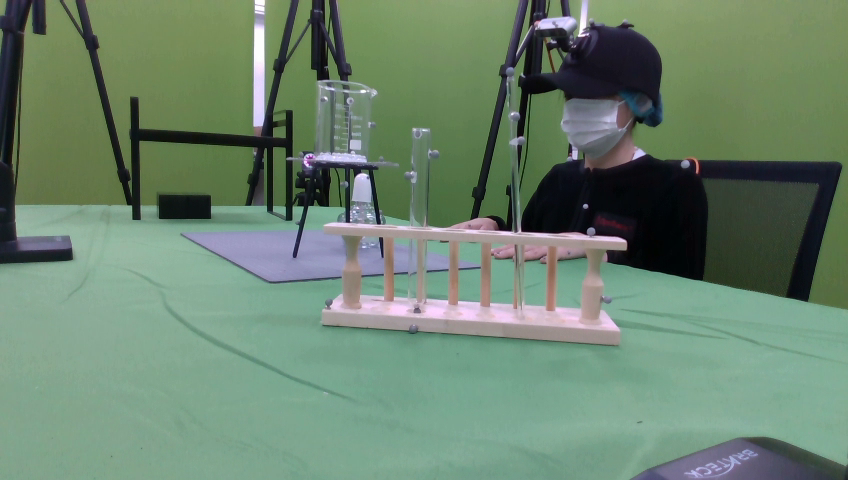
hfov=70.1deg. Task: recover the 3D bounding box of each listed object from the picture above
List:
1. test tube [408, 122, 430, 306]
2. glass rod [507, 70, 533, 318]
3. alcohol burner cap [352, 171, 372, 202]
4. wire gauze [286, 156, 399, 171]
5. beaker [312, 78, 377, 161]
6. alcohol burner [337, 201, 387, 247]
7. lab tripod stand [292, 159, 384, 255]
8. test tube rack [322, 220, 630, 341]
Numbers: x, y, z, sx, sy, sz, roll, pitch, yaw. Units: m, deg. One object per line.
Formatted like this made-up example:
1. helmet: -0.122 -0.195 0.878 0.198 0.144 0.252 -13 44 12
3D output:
1. test tube: -0.004 -0.019 0.489 0.017 0.150 0.017 1 11 0
2. glass rod: 0.076 -0.031 0.476 0.008 0.199 0.008 -6 12 2
3. alcohol burner cap: -0.096 -0.084 0.951 0.034 0.048 0.034 6 5 0
4. wire gauze: -0.101 -0.103 0.788 0.121 0.011 0.125 5 4 6
5. beaker: -0.103 -0.151 0.776 0.084 0.100 0.074 5 6 14
6. alcohol burner: -0.098 -0.049 0.954 0.078 0.119 0.078 0 6 0
7. lab tripod stand: -0.105 -0.039 0.797 0.148 0.131 0.148 2 5 0
8. test tube rack: 0.041 0.029 0.512 0.242 0.085 0.067 3 7 5
